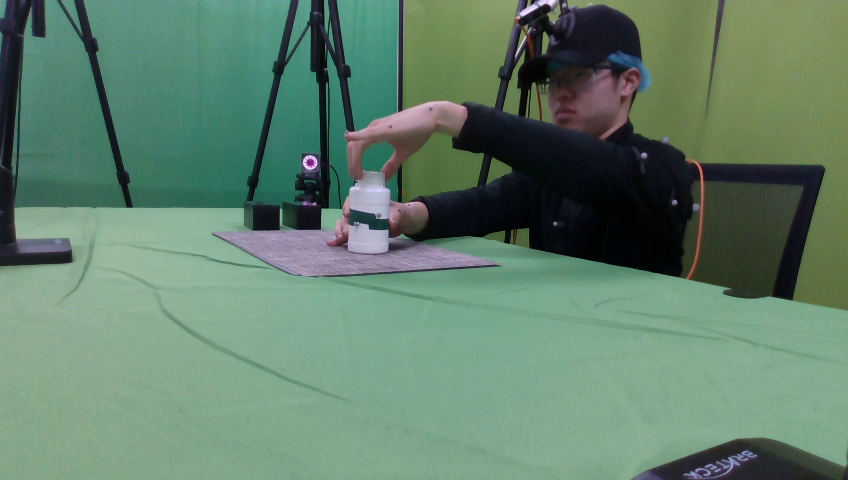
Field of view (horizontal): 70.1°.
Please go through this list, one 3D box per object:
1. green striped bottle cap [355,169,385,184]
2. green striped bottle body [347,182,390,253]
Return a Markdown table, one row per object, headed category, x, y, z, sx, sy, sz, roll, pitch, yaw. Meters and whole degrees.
| category | x | y | z | sx | sy | sz | roll | pitch | yaw |
| --- | --- | --- | --- | --- | --- | --- | --- | --- | --- |
| green striped bottle cap | -0.081 | -0.094 | 0.908 | 0.044 | 0.020 | 0.044 | 7 | 11 | -1 |
| green striped bottle body | -0.083 | -0.042 | 0.913 | 0.063 | 0.119 | 0.063 | 3 | 8 | 0 |
